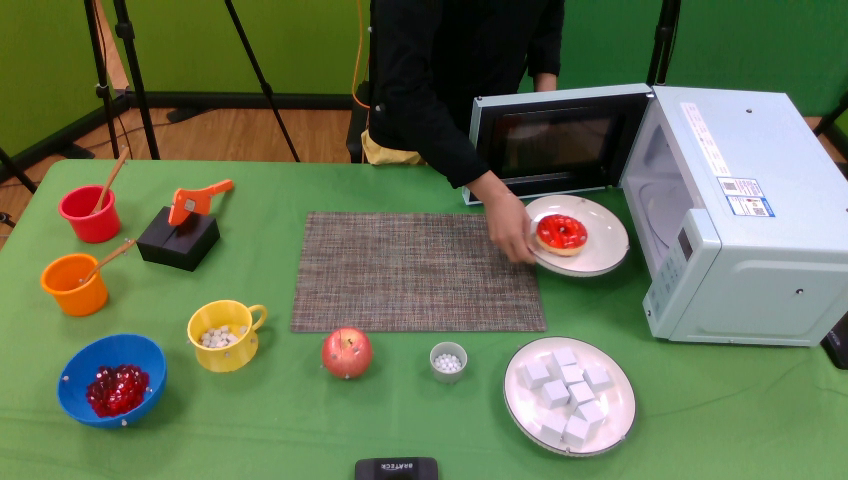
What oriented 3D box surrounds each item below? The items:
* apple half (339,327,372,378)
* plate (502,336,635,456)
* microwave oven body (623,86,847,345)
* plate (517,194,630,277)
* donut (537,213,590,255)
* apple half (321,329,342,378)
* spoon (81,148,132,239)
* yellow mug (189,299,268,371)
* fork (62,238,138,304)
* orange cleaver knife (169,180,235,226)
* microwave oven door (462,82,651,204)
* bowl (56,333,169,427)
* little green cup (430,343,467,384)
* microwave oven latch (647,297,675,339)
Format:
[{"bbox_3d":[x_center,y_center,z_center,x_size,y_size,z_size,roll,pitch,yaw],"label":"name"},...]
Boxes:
[{"bbox_3d":[-0.111,0.182,0.980,0.053,0.075,0.080,-2,42,-12],"label":"apple half"},{"bbox_3d":[0.225,0.248,0.963,0.208,0.039,0.206,2,46,-2],"label":"plate"},{"bbox_3d":[0.567,-0.053,1.118,0.326,0.261,0.439,2,45,-1],"label":"microwave oven body"},{"bbox_3d":[0.277,-0.006,1.136,0.209,0.038,0.208,3,45,-3],"label":"plate"},{"bbox_3d":[0.258,-0.012,1.125,0.099,0.048,0.098,3,44,-2],"label":"donut"},{"bbox_3d":[-0.149,0.186,0.972,0.033,0.081,0.080,-2,46,-13],"label":"apple half"},{"bbox_3d":[-0.603,-0.089,1.156,0.041,0.022,0.193,28,95,18],"label":"spoon"},{"bbox_3d":[-0.316,0.148,1.002,0.131,0.064,0.099,-33,56,-31],"label":"yellow mug"},{"bbox_3d":[-0.547,0.053,1.018,0.207,0.019,0.028,-36,41,23],"label":"fork"},{"bbox_3d":[-0.435,-0.076,1.199,0.012,0.077,0.211,17,17,9],"label":"orange cleaver knife"},{"bbox_3d":[0.261,-0.194,1.226,0.356,0.245,0.039,-8,47,-11],"label":"microwave oven door"},{"bbox_3d":[-0.456,0.223,0.912,0.151,0.077,0.150,3,46,-2],"label":"bowl"},{"bbox_3d":[0.039,0.203,0.994,0.061,0.039,0.061,2,46,-2],"label":"little green cup"},{"bbox_3d":[0.413,0.134,1.060,0.030,0.029,0.078,5,45,2],"label":"microwave oven latch"}]
